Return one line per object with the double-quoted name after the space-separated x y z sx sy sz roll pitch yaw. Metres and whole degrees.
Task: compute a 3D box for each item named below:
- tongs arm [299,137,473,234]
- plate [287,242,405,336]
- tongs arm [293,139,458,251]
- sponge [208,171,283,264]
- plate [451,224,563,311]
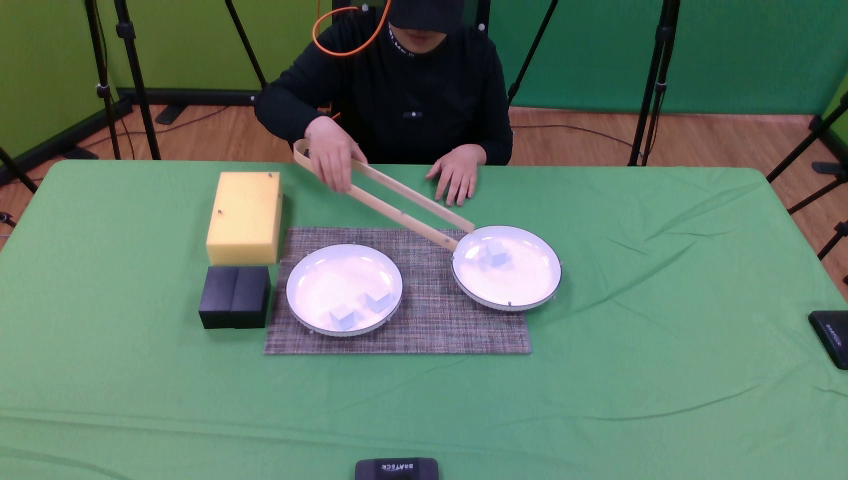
-0.077 -0.107 1.148 0.386 0.028 0.028 29 52 15 "tongs arm"
-0.138 0.090 1.085 0.208 0.039 0.206 2 46 -2 "plate"
-0.096 -0.088 1.124 0.384 0.026 0.050 28 48 15 "tongs arm"
-0.346 -0.048 1.191 0.118 0.061 0.205 -2 46 -7 "sponge"
0.154 0.053 1.140 0.209 0.038 0.208 2 47 -2 "plate"
